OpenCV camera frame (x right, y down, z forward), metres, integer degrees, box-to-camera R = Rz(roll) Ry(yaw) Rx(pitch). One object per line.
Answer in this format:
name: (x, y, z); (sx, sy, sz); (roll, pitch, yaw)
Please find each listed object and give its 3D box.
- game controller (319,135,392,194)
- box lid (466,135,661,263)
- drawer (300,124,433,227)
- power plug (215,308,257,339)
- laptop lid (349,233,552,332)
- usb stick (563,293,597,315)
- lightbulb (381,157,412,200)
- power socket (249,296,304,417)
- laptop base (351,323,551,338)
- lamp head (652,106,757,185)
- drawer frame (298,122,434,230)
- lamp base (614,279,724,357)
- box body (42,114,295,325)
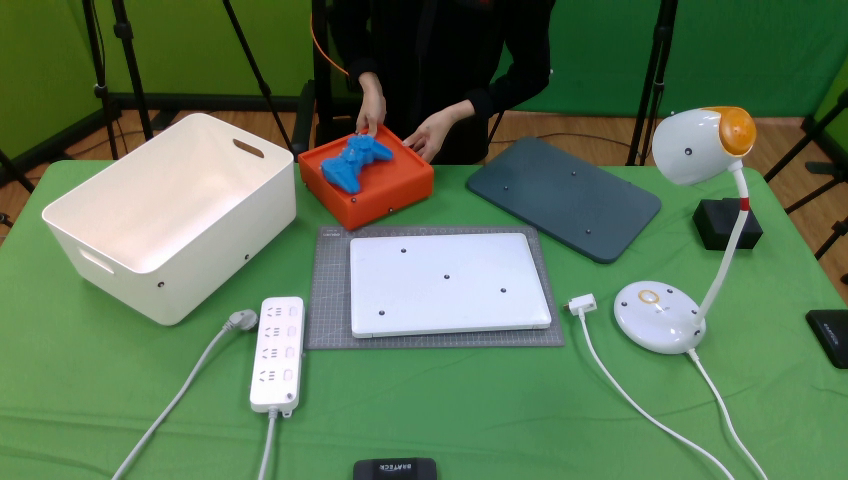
game controller: (-0.141, -0.163, 1.228); (0.097, 0.052, 0.155); (21, 47, 22)
box lid: (0.306, -0.102, 1.327); (0.370, 0.015, 0.263); (32, 52, 25)
drawer: (-0.121, -0.140, 1.280); (0.212, 0.073, 0.193); (-27, 55, -27)
power plug: (-0.317, 0.143, 1.024); (0.072, 0.053, 0.035); (-32, 58, -8)
laptop lid: (0.040, 0.070, 1.119); (0.357, 0.013, 0.240); (-1, 44, -5)
usb stick: (0.280, 0.118, 1.093); (0.059, 0.021, 0.027); (-18, 35, 25)
lightbulb: (-0.063, -0.129, 1.283); (0.059, 0.060, 0.107); (17, 59, 11)
power socket: (-0.239, 0.182, 0.996); (0.072, 0.033, 0.225); (-2, 47, -5)
laptop base: (0.039, 0.080, 1.125); (0.355, 0.023, 0.234); (-2, 43, -6)
lamp head: (0.410, -0.139, 0.869); (0.113, 0.122, 0.112); (0, 89, -19)
drawer frame: (-0.122, -0.140, 1.279); (0.213, 0.083, 0.200); (-27, 53, -27)
lamp base: (0.436, 0.090, 1.034); (0.161, 0.181, 0.178); (-23, 55, -23)
box body: (-0.437, -0.046, 1.110); (0.253, 0.161, 0.363); (24, 49, 19)
